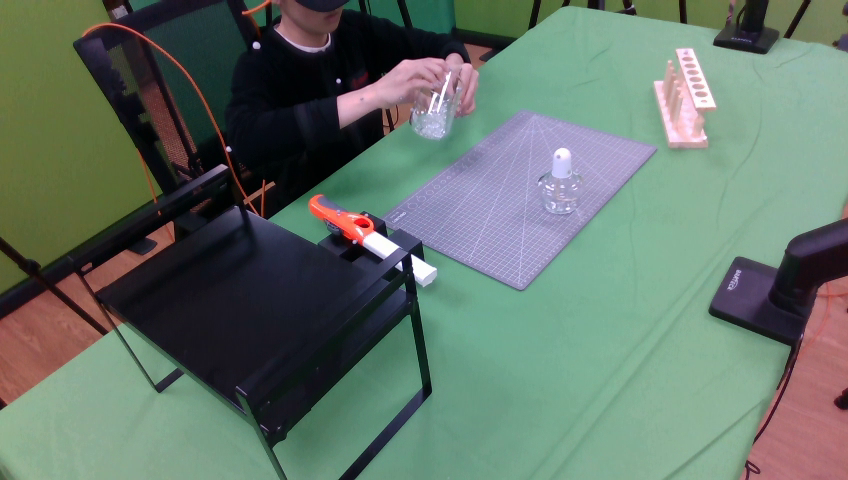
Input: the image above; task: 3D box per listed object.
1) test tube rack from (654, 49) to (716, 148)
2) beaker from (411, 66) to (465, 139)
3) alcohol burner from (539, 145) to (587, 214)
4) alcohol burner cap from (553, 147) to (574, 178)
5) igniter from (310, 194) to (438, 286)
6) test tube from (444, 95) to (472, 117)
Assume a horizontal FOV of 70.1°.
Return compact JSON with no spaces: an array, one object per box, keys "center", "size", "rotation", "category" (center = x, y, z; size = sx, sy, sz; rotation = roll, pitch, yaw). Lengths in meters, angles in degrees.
[{"center":[0.502,-0.281,1.176],"size":[0.066,0.085,0.241],"rotation":[1,41,11],"category":"test tube rack"},{"center":[0.023,-0.226,1.013],"size":[0.074,0.084,0.100],"rotation":[9,66,16],"category":"beaker"},{"center":[0.226,-0.102,0.986],"size":[0.078,0.119,0.077],"rotation":[-6,41,6],"category":"alcohol burner"},{"center":[0.224,-0.125,0.965],"size":[0.034,0.048,0.033],"rotation":[-5,44,5],"category":"alcohol burner cap"},{"center":[-0.087,-0.007,0.921],"size":[0.274,0.025,0.057],"rotation":[31,50,34],"category":"igniter"},{"center":[0.065,-0.250,1.134],"size":[0.017,0.017,0.151],"rotation":[9,4,18],"category":"test tube"}]
